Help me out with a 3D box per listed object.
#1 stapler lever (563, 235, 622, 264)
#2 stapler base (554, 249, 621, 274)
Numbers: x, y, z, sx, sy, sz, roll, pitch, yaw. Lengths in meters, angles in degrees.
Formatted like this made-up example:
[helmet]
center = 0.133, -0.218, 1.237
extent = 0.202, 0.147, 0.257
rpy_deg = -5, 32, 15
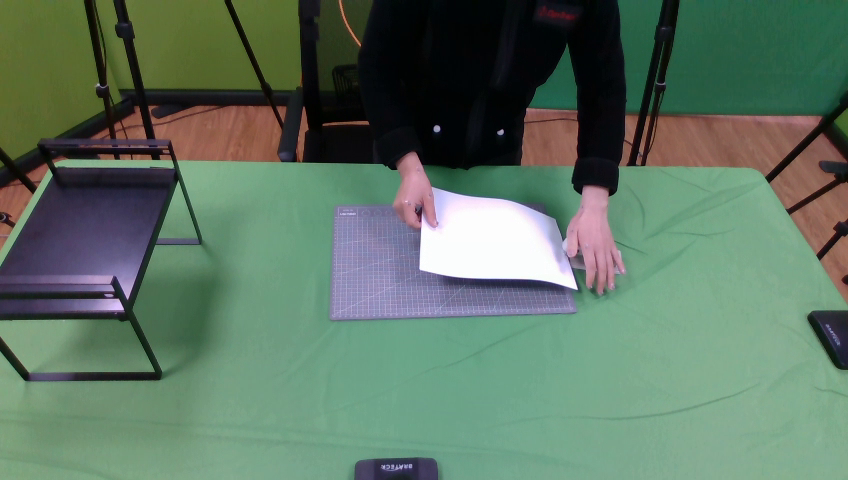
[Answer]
[stapler lever]
center = 0.326, 0.018, 1.165
extent = 0.118, 0.040, 0.026
rpy_deg = 9, 49, -1
[stapler base]
center = 0.322, 0.036, 1.184
extent = 0.130, 0.024, 0.041
rpy_deg = 8, 49, 0
